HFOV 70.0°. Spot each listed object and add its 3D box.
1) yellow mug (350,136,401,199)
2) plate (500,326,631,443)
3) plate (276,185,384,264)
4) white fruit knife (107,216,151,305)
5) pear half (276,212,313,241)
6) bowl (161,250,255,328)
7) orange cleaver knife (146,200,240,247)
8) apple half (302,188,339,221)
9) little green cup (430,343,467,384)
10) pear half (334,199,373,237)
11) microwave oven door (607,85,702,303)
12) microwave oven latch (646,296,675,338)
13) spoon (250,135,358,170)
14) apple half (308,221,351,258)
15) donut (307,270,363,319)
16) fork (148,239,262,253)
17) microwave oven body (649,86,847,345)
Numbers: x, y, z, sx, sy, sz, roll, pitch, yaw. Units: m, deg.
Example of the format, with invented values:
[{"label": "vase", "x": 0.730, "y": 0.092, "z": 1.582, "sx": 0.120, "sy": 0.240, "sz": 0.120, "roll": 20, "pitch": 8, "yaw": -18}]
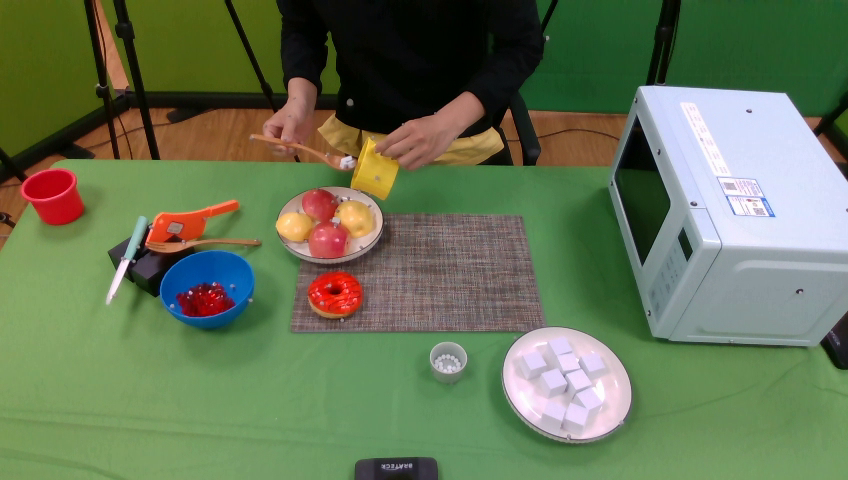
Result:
[{"label": "yellow mug", "x": -0.084, "y": -0.138, "z": 1.091, "sx": 0.064, "sy": 0.131, "sz": 0.099, "roll": 18, "pitch": 61, "yaw": -14}, {"label": "plate", "x": 0.224, "y": 0.234, "z": 0.978, "sx": 0.208, "sy": 0.039, "sz": 0.206, "roll": 2, "pitch": 46, "yaw": -2}, {"label": "plate", "x": -0.184, "y": -0.027, "z": 1.195, "sx": 0.209, "sy": 0.038, "sz": 0.208, "roll": 2, "pitch": 46, "yaw": -2}, {"label": "white fruit knife", "x": -0.518, "y": 0.032, "z": 1.066, "sx": 0.027, "sy": 0.016, "sz": 0.206, "roll": -19, "pitch": 45, "yaw": 19}, {"label": "pear half", "x": -0.245, "y": -0.035, "z": 1.179, "sx": 0.070, "sy": 0.031, "sz": 0.088, "roll": 40, "pitch": 42, "yaw": 1}, {"label": "bowl", "x": -0.362, "y": 0.097, "z": 1.040, "sx": 0.151, "sy": 0.077, "sz": 0.150, "roll": 2, "pitch": 45, "yaw": -2}, {"label": "orange cleaver knife", "x": -0.435, "y": -0.033, "z": 1.157, "sx": 0.012, "sy": 0.077, "sz": 0.211, "roll": 31, "pitch": 26, "yaw": 18}, {"label": "apple half", "x": -0.205, "y": -0.076, "z": 1.216, "sx": 0.081, "sy": 0.033, "sz": 0.081, "roll": 17, "pitch": 46, "yaw": -18}, {"label": "little green cup", "x": 0.039, "y": 0.203, "z": 0.993, "sx": 0.061, "sy": 0.039, "sz": 0.061, "roll": 2, "pitch": 46, "yaw": -2}, {"label": "pear half", "x": -0.147, "y": -0.060, "z": 1.210, "sx": 0.076, "sy": 0.056, "sz": 0.109, "roll": -16, "pitch": 45, "yaw": -25}, {"label": "microwave oven door", "x": 0.423, "y": -0.094, "z": 1.140, "sx": 0.039, "sy": 0.245, "sz": 0.353, "roll": 2, "pitch": 46, "yaw": -1}, {"label": "microwave oven latch", "x": 0.412, "y": 0.134, "z": 1.061, "sx": 0.030, "sy": 0.029, "sz": 0.078, "roll": 4, "pitch": 45, "yaw": 1}, {"label": "spoon", "x": -0.215, "y": -0.162, "z": 1.095, "sx": 0.194, "sy": 0.022, "sz": 0.041, "roll": 17, "pitch": 40, "yaw": -12}, {"label": "apple half", "x": -0.180, "y": -0.005, "z": 1.150, "sx": 0.074, "sy": 0.053, "sz": 0.080, "roll": 14, "pitch": 44, "yaw": 9}, {"label": "donut", "x": -0.157, "y": 0.097, "z": 1.072, "sx": 0.099, "sy": 0.048, "sz": 0.098, "roll": 4, "pitch": 45, "yaw": -4}, {"label": "fork", "x": -0.398, "y": 0.008, "z": 1.117, "sx": 0.208, "sy": 0.019, "sz": 0.028, "roll": -5, "pitch": 34, "yaw": -37}, {"label": "microwave oven body", "x": 0.568, "y": -0.053, "z": 1.118, "sx": 0.326, "sy": 0.261, "sz": 0.439, "roll": 2, "pitch": 45, "yaw": -1}]
